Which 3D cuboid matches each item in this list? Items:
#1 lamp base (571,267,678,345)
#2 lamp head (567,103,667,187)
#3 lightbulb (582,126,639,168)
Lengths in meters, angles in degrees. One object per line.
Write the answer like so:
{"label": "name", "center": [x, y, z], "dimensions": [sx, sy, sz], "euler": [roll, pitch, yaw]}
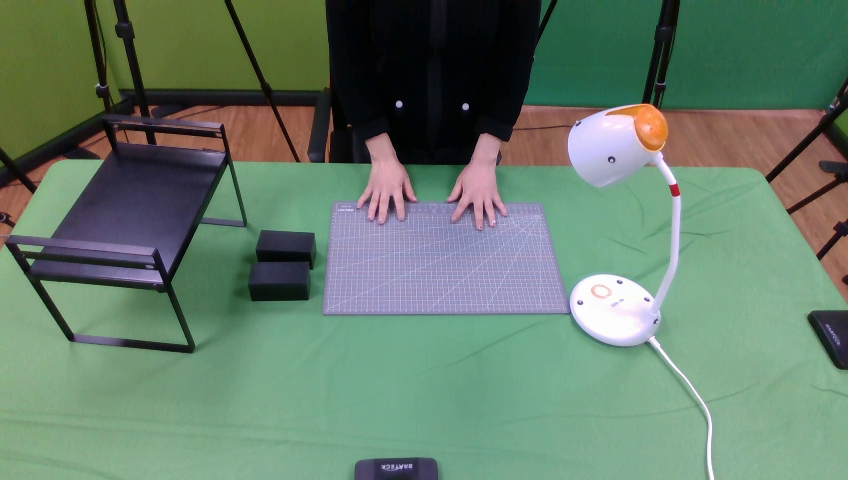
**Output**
{"label": "lamp base", "center": [0.359, 0.077, 1.038], "dimensions": [0.160, 0.181, 0.178], "euler": [-34, 59, -30]}
{"label": "lamp head", "center": [0.289, -0.142, 0.876], "dimensions": [0.113, 0.122, 0.112], "euler": [5, 81, -30]}
{"label": "lightbulb", "center": [0.279, -0.143, 0.899], "dimensions": [0.060, 0.107, 0.059], "euler": [3, 81, -20]}
